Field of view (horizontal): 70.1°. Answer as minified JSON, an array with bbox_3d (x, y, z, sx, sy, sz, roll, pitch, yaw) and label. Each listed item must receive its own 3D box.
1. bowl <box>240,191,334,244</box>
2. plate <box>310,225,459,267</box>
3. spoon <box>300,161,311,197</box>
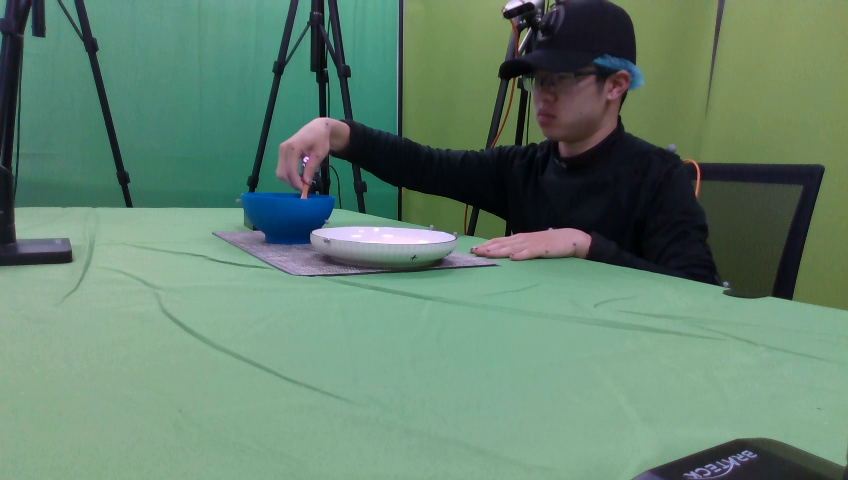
[{"bbox_3d":[-0.223,-0.037,0.992,0.151,0.077,0.151,2,8,0],"label":"bowl"},{"bbox_3d":[-0.055,0.008,0.851,0.208,0.039,0.207,2,7,0],"label":"plate"},{"bbox_3d":[-0.206,-0.084,1.038,0.042,0.021,0.193,6,42,-9],"label":"spoon"}]
